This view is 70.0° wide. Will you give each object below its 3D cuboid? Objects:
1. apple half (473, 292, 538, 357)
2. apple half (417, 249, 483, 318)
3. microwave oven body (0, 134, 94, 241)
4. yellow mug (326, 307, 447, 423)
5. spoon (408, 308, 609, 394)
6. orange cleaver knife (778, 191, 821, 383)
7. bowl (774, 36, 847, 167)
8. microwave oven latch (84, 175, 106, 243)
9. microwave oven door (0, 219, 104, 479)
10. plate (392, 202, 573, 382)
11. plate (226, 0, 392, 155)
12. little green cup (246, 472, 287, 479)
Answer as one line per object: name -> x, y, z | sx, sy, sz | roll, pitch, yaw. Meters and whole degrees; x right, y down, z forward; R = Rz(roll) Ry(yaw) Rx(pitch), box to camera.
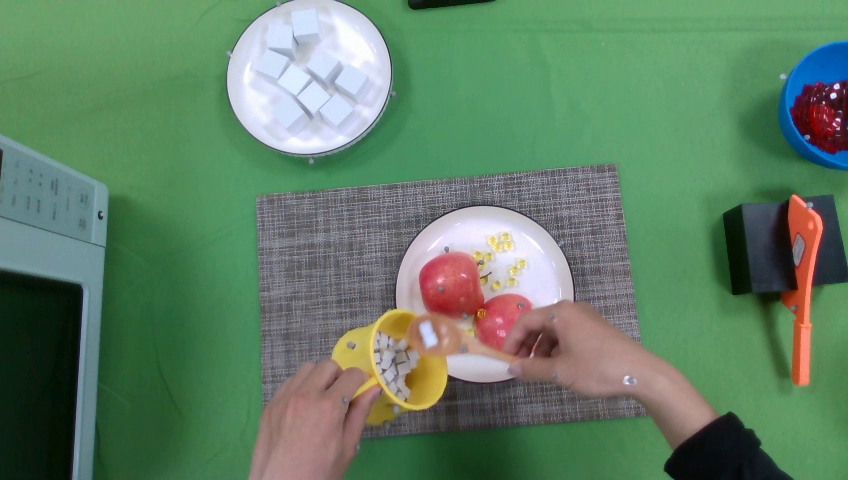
apple half -> 0.094, 0.097, 0.696 | 0.081, 0.033, 0.081 | -1, 78, 4
apple half -> 0.028, 0.049, 0.697 | 0.074, 0.053, 0.080 | -7, 81, 4
microwave oven body -> -0.554, 0.126, 0.616 | 0.326, 0.261, 0.440 | -2, 81, 2
yellow mug -> -0.043, 0.128, 0.589 | 0.064, 0.131, 0.100 | -31, 87, 39
spoon -> 0.075, 0.108, 0.566 | 0.193, 0.021, 0.042 | 19, 105, 16
orange cleaver knife -> 0.413, 0.053, 0.674 | 0.012, 0.077, 0.212 | -4, 104, 6
bowl -> 0.475, -0.149, 0.706 | 0.151, 0.077, 0.151 | 0, 81, 3
microwave oven latch -> -0.406, -0.037, 0.732 | 0.030, 0.029, 0.079 | 0, 82, 2
microwave oven door -> -0.408, 0.163, 0.598 | 0.039, 0.244, 0.354 | -2, 80, 3
plate -> 0.067, 0.060, 0.709 | 0.209, 0.038, 0.208 | 0, 82, 2
plate -> -0.142, -0.204, 0.766 | 0.207, 0.039, 0.207 | 0, 81, 3
little green cup -> -0.180, 0.294, 0.687 | 0.061, 0.039, 0.061 | 0, 82, 1
